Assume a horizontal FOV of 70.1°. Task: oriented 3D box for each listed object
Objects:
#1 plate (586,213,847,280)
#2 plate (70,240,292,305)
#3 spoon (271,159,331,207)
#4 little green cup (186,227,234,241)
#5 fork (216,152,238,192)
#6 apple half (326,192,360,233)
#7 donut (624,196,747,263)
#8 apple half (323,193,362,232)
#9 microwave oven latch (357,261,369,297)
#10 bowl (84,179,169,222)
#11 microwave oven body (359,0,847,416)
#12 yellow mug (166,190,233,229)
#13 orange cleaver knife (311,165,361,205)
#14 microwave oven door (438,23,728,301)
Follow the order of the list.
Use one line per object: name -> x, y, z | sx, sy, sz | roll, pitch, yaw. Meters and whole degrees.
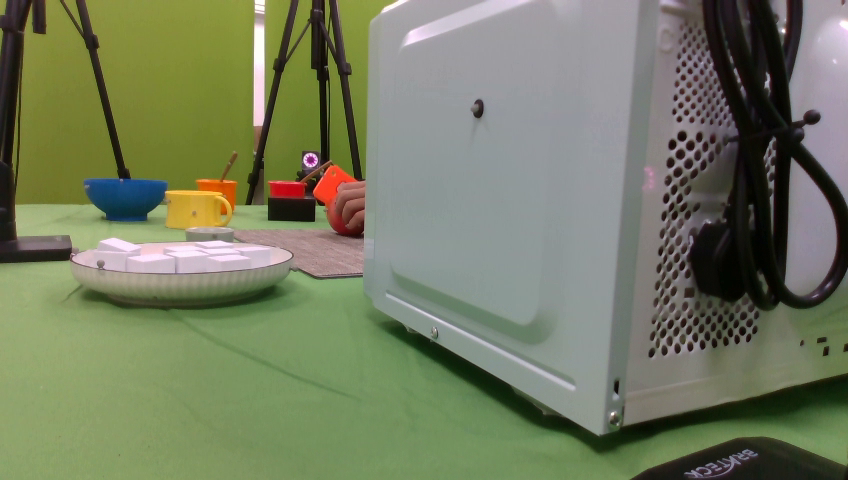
plate -> 0.244, 0.002, 0.512 | 0.209, 0.038, 0.209 | 1, 7, 0
plate -> -0.242, 0.032, 0.618 | 0.208, 0.039, 0.207 | 2, 8, 0
spoon -> -0.307, -0.141, 1.513 | 0.193, 0.021, 0.041 | -42, 3, 8
little green cup -> -0.284, 0.005, 0.805 | 0.061, 0.038, 0.061 | 2, 8, 0
fork -> -0.455, -0.132, 1.367 | 0.028, 0.018, 0.207 | -2, -35, -37
apple half -> -0.131, -0.048, 1.088 | 0.081, 0.074, 0.053 | 6, 11, -29
donut -> 0.222, -0.007, 0.518 | 0.099, 0.048, 0.099 | 17, 1, 0
apple half -> -0.157, -0.051, 1.127 | 0.082, 0.081, 0.032 | -3, 0, -33
microwave oven latch -> -0.019, 0.033, 0.531 | 0.079, 0.029, 0.030 | -1, 7, -27
bowl -> -0.584, -0.078, 1.194 | 0.151, 0.077, 0.151 | 3, 8, 0
microwave oven body -> 0.211, -0.047, 0.474 | 0.444, 0.260, 0.324 | -1, 7, -28
yellow mug -> -0.415, -0.057, 1.132 | 0.130, 0.064, 0.100 | 6, 8, 16
orange cleaver knife -> -0.110, -0.075, 1.133 | 0.212, 0.077, 0.012 | 19, 0, -33
microwave oven door -> 0.181, -0.072, 0.621 | 0.358, 0.243, 0.039 | -2, 8, -29
